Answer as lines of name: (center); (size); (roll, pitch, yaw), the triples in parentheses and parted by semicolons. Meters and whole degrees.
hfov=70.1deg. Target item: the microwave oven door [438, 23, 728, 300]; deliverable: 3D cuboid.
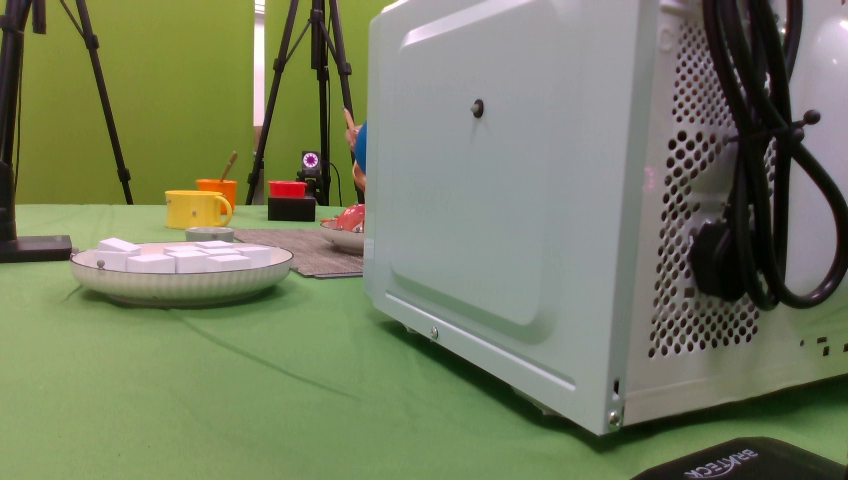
microwave oven door: (0.181, -0.072, 0.621); (0.358, 0.243, 0.039); (-2, 8, -29)

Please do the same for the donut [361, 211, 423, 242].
donut: (-0.050, -0.020, 0.958); (0.099, 0.048, 0.099); (2, 6, 0)

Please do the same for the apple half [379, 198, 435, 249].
apple half: (-0.020, -0.030, 0.891); (0.081, 0.053, 0.074); (-2, 49, -26)

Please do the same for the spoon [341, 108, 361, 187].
spoon: (-0.114, -0.153, 0.999); (0.021, 0.193, 0.042); (-32, -38, 25)

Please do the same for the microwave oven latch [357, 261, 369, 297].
microwave oven latch: (-0.019, 0.033, 0.531); (0.079, 0.029, 0.030); (-1, 7, -27)

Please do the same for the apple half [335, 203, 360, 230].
apple half: (-0.116, -0.038, 0.960); (0.081, 0.033, 0.081); (-37, 8, 7)

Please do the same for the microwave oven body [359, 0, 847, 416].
microwave oven body: (0.211, -0.047, 0.474); (0.444, 0.260, 0.324); (-1, 7, -28)

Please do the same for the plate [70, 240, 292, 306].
plate: (-0.242, 0.032, 0.618); (0.208, 0.039, 0.207); (2, 8, 0)

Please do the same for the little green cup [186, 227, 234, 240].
little green cup: (-0.285, 0.005, 0.805); (0.061, 0.038, 0.061); (2, 8, 0)

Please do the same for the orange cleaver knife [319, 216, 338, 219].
orange cleaver knife: (-0.142, -0.057, 1.394); (0.077, 0.012, 0.212); (2, 7, 44)

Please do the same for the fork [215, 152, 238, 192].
fork: (-0.455, -0.132, 1.367); (0.028, 0.018, 0.207); (-2, -35, -37)

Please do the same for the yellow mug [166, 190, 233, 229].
yellow mug: (-0.415, -0.057, 1.132); (0.130, 0.064, 0.100); (6, 8, 16)

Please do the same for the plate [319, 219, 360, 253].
plate: (-0.059, -0.007, 0.939); (0.209, 0.038, 0.209); (3, 8, 0)

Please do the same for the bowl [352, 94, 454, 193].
bowl: (-0.017, -0.119, 0.847); (0.152, 0.151, 0.076); (-2, 45, -30)
